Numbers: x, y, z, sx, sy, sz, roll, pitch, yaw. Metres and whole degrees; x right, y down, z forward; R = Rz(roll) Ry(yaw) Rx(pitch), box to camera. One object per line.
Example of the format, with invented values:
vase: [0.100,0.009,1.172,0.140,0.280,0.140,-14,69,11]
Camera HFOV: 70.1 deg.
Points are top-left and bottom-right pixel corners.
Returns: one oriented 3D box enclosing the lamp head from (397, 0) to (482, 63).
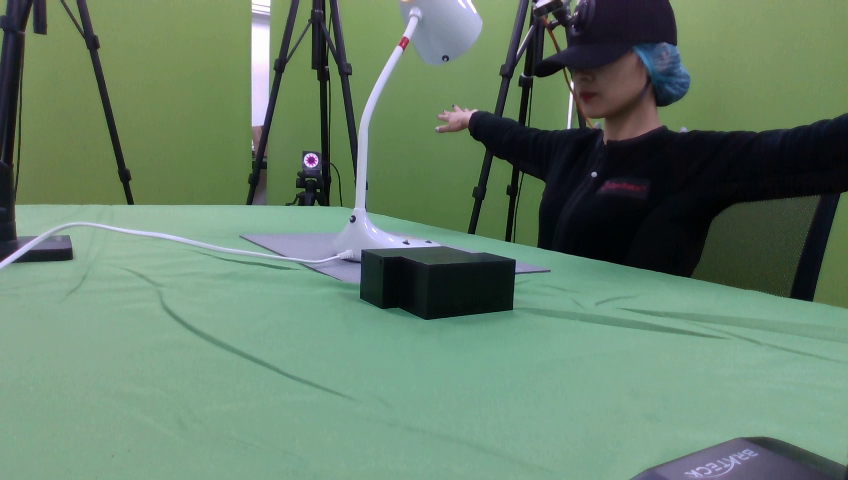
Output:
lamp head: [0.011,-0.341,0.899,0.112,0.112,0.123,7,-21,37]

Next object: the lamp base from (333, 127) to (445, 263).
lamp base: [-0.054,-0.064,0.842,0.160,0.180,0.180,6,11,29]
